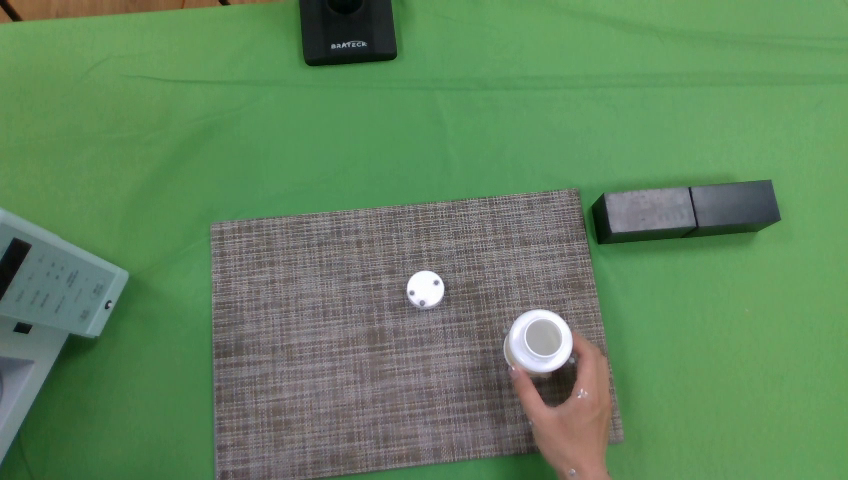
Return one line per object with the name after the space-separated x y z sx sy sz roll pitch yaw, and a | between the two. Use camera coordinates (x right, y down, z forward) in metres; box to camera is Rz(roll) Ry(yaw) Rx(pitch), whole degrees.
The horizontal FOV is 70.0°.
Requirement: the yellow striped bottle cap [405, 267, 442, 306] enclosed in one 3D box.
-0.001 0.054 0.708 0.044 0.019 0.044 0 77 -1 | yellow striped bottle cap

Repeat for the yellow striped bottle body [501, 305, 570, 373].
0.115 0.104 0.632 0.063 0.121 0.062 -1 74 3 | yellow striped bottle body

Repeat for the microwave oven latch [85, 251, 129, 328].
-0.358 0.056 0.668 0.030 0.029 0.079 23 77 3 | microwave oven latch

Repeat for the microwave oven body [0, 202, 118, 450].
-0.558 0.137 0.541 0.326 0.261 0.440 21 77 3 | microwave oven body
